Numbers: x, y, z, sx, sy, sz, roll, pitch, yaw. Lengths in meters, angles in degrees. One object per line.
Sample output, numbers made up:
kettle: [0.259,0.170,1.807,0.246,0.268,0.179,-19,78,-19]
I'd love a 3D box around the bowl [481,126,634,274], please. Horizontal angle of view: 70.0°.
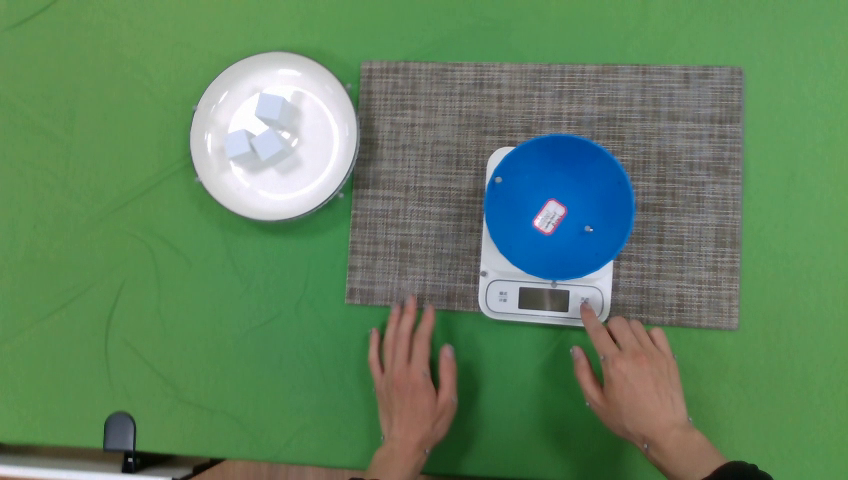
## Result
bowl: [0.136,-0.037,0.641,0.151,0.077,0.151,0,86,5]

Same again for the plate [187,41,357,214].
plate: [-0.180,-0.133,0.734,0.207,0.039,0.207,0,86,6]

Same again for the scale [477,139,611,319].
scale: [0.140,-0.014,0.692,0.148,0.031,0.200,4,87,6]
